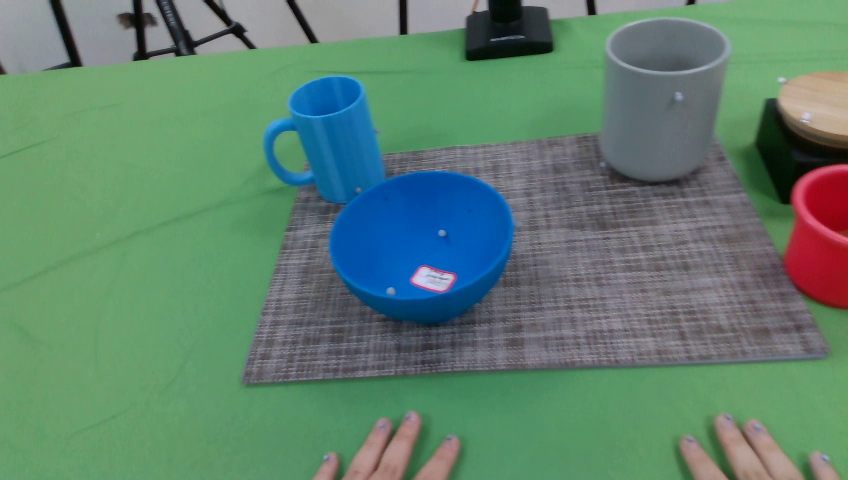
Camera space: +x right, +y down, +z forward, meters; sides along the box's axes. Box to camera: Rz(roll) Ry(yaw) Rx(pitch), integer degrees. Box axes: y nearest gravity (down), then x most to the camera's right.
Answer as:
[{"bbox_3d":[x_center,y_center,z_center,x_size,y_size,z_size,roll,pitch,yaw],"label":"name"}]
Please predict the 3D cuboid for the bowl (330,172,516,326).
[{"bbox_3d":[0.003,0.019,0.507,0.151,0.077,0.150,-5,44,5],"label":"bowl"}]

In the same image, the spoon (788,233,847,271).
[{"bbox_3d":[0.360,-0.013,0.428,0.022,0.193,0.041,46,52,-9],"label":"spoon"}]

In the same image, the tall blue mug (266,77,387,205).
[{"bbox_3d":[-0.097,-0.093,0.619,0.107,0.109,0.077,-36,50,-24],"label":"tall blue mug"}]

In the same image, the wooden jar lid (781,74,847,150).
[{"bbox_3d":[0.382,-0.115,0.546,0.108,0.021,0.107,-6,43,6],"label":"wooden jar lid"}]

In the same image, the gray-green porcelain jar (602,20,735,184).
[{"bbox_3d":[0.226,-0.126,0.578,0.106,0.128,0.105,-6,44,6],"label":"gray-green porcelain jar"}]
